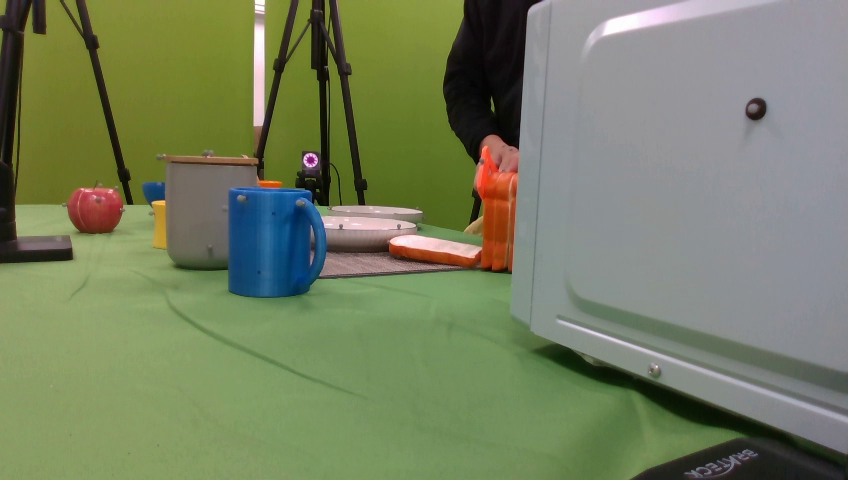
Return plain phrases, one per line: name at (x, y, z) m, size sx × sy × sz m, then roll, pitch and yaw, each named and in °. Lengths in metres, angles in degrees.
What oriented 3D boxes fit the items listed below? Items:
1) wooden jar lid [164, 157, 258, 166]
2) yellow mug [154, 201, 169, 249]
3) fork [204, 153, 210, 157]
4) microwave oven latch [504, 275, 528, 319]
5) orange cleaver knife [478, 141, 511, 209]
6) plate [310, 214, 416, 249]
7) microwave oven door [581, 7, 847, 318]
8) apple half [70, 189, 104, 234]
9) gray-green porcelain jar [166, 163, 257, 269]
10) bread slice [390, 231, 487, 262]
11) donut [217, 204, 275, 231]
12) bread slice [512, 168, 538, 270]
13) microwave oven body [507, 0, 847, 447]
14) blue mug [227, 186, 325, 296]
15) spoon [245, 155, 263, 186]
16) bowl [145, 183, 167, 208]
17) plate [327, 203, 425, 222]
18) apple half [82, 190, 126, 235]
wooden jar lid at (-0.261, -0.093, 0.746) m, size 0.108 × 0.020 × 0.108 m, roll 0°, pitch 9°, yaw 0°
yellow mug at (-0.338, -0.022, 0.899) m, size 0.130 × 0.064 × 0.100 m, roll 8°, pitch 9°, yaw 35°
fork at (-0.480, -0.136, 1.411) m, size 0.028 × 0.018 × 0.207 m, roll 1°, pitch -34°, yaw -1°
microwave oven latch at (0.100, 0.042, 0.470) m, size 0.079 × 0.029 × 0.030 m, roll -1°, pitch 7°, yaw -28°
orange cleaver knife at (0.102, -0.084, 0.870) m, size 0.012 × 0.077 × 0.212 m, roll 2°, pitch -5°, yaw 17°
plate at (-0.116, -0.014, 0.967) m, size 0.208 × 0.039 × 0.207 m, roll 2°, pitch 7°, yaw 0°
microwave oven door at (0.295, -0.067, 0.569) m, size 0.358 × 0.243 × 0.039 m, roll -3°, pitch 8°, yaw -31°
apple half at (-0.552, -0.048, 1.009) m, size 0.053 × 0.074 × 0.081 m, roll -1°, pitch 9°, yaw 26°
gray-green porcelain jar at (-0.263, -0.031, 0.754) m, size 0.106 × 0.126 × 0.106 m, roll 2°, pitch 7°, yaw 0°
bread slice at (0.019, 0.008, 0.864) m, size 0.131 × 0.019 × 0.105 m, roll 8°, pitch 11°, yaw 14°
donut at (-0.317, -0.038, 1.080) m, size 0.099 × 0.048 × 0.099 m, roll 3°, pitch 7°, yaw 0°
bread slice at (0.137, -0.030, 0.822) m, size 0.018 × 0.134 × 0.107 m, roll 0°, pitch 8°, yaw 20°
microwave oven body at (0.331, -0.042, 0.425) m, size 0.444 × 0.260 × 0.324 m, roll -2°, pitch 8°, yaw -31°
blue mug at (-0.146, 0.000, 0.618) m, size 0.116 × 0.106 × 0.083 m, roll 7°, pitch 9°, yaw 32°
spoon at (-0.421, -0.150, 1.540) m, size 0.042 × 0.021 × 0.193 m, roll -5°, pitch 55°, yaw -37°
bowl at (-0.459, -0.068, 1.175) m, size 0.151 × 0.077 × 0.151 m, roll 3°, pitch 7°, yaw 0°
plate at (-0.102, -0.053, 1.299) m, size 0.209 × 0.038 × 0.209 m, roll 2°, pitch 8°, yaw 0°
apple half at (-0.516, -0.046, 0.994) m, size 0.032 × 0.081 × 0.081 m, roll 0°, pitch 6°, yaw 26°
